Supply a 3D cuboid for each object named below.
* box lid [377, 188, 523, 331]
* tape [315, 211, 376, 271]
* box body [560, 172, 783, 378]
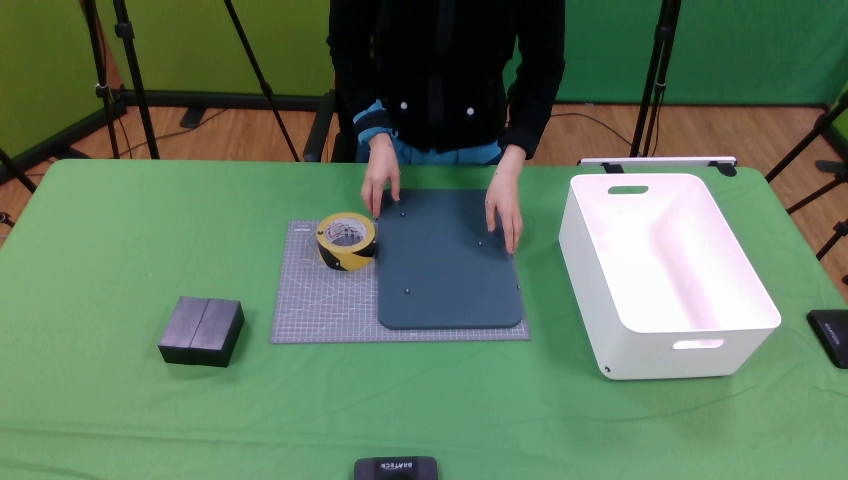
[{"bbox_3d":[0.040,0.024,1.182,0.263,0.015,0.369,0,46,-4],"label":"box lid"},{"bbox_3d":[-0.150,0.000,1.160,0.117,0.053,0.116,3,46,-3],"label":"tape"},{"bbox_3d":[0.405,0.057,1.074,0.254,0.161,0.361,-2,46,-5],"label":"box body"}]
